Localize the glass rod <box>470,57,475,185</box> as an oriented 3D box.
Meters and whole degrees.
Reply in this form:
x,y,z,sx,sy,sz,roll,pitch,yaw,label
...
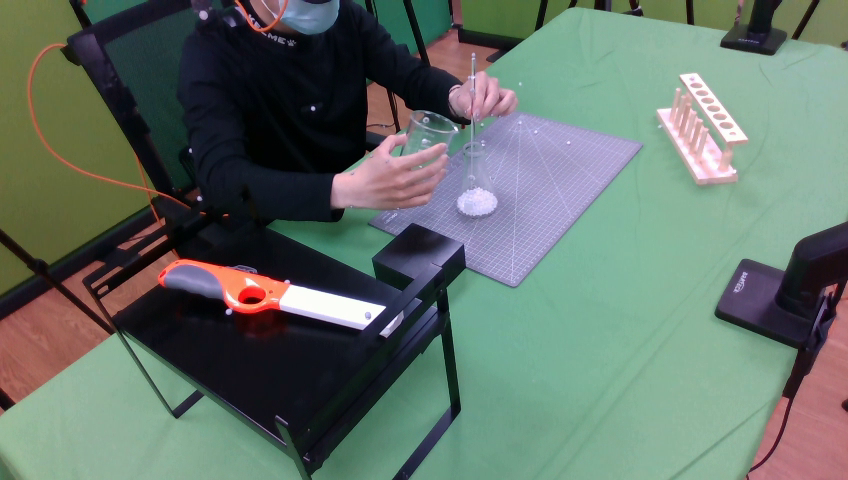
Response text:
x,y,z,sx,sy,sz,roll,pitch,yaw,label
0.076,-0.187,0.960,0.008,0.200,0.008,0,14,1,glass rod

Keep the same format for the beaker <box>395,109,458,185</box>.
x,y,z,sx,sy,sz,roll,pitch,yaw,label
0.001,-0.145,0.957,0.084,0.100,0.073,11,32,-14,beaker

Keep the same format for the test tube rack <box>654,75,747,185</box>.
x,y,z,sx,sy,sz,roll,pitch,yaw,label
0.491,-0.205,1.092,0.067,0.085,0.241,-5,40,3,test tube rack

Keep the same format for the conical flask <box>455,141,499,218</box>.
x,y,z,sx,sy,sz,roll,pitch,yaw,label
0.085,-0.103,0.999,0.075,0.122,0.075,-4,40,4,conical flask

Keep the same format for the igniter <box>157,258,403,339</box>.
x,y,z,sx,sy,sz,roll,pitch,yaw,label
-0.157,0.059,0.638,0.275,0.025,0.057,11,43,14,igniter
